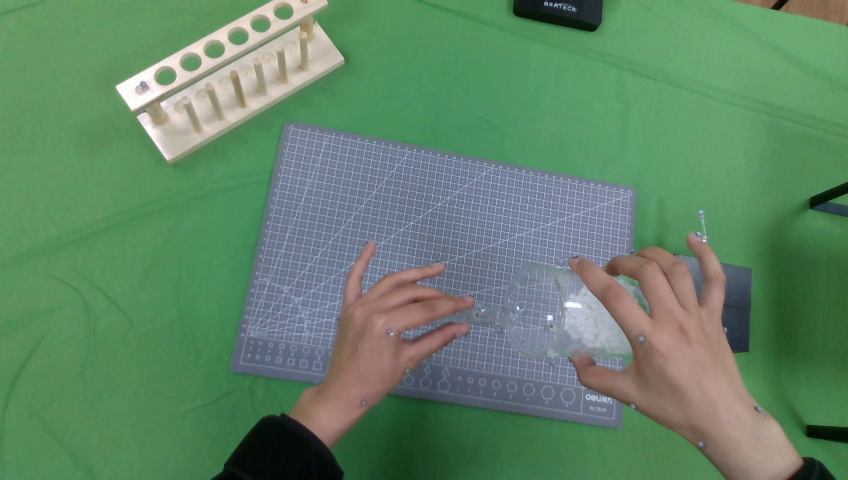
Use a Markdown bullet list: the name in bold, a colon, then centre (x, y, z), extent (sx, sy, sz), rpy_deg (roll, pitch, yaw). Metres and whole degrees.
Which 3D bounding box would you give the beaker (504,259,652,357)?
- **beaker**: centre (0.124, 0.059, 0.491), extent (0.101, 0.084, 0.073), rpy_deg (7, 74, -26)

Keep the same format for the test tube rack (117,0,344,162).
- **test tube rack**: centre (-0.209, -0.192, 0.693), extent (0.242, 0.085, 0.066), rpy_deg (-35, 83, -14)

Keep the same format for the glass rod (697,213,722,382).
- **glass rod**: centre (0.334, 0.065, 0.708), extent (0.008, 0.008, 0.198), rpy_deg (1, 78, -8)

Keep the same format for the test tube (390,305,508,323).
- **test tube**: centre (0.018, 0.068, 0.557), extent (0.017, 0.149, 0.017), rpy_deg (6, 81, -41)
